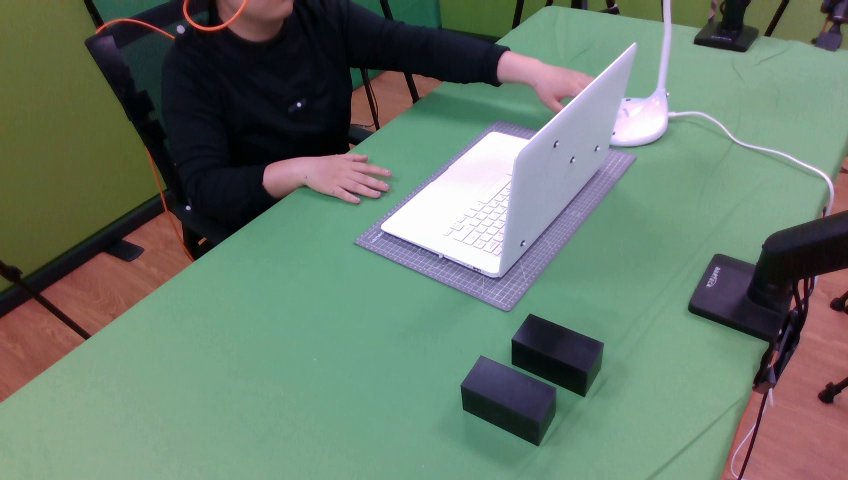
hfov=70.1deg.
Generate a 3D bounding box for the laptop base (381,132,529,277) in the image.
[{"bbox_3d":[0.122,-0.077,1.043,0.233,0.023,0.355,20,47,33],"label":"laptop base"}]

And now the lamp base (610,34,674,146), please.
[{"bbox_3d":[0.392,-0.291,1.129,0.180,0.181,0.159,-11,41,-8],"label":"lamp base"}]

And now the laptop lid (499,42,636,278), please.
[{"bbox_3d":[0.217,-0.122,0.898,0.013,0.242,0.358,28,50,25],"label":"laptop lid"}]
